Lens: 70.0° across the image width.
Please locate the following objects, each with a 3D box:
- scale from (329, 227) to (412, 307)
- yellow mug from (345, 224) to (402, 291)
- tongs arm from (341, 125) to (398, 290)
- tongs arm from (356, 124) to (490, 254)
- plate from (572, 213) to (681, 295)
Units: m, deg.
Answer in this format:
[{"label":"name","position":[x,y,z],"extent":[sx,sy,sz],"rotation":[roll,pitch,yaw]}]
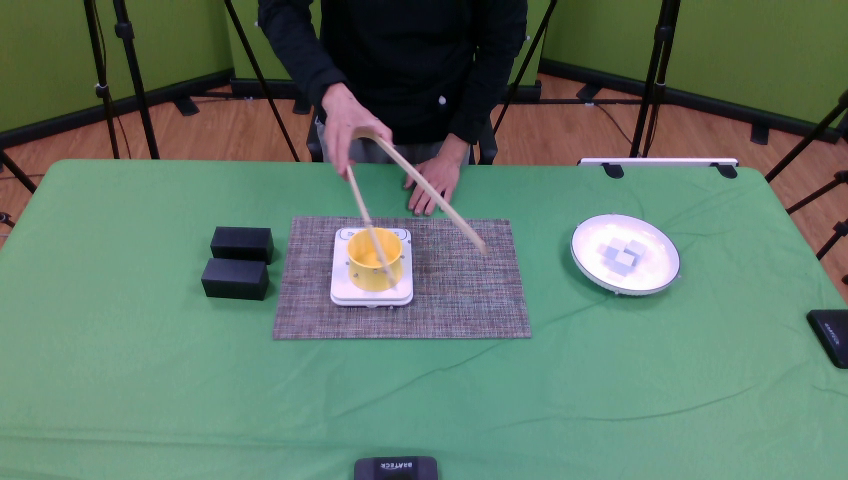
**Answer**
[{"label":"scale","position":[-0.099,0.042,1.139],"extent":[0.149,0.032,0.199],"rotation":[1,46,-4]},{"label":"yellow mug","position":[-0.092,0.022,1.093],"extent":[0.100,0.064,0.130],"rotation":[-8,46,-10]},{"label":"tongs arm","position":[-0.080,-0.067,0.947],"extent":[0.051,0.027,0.382],"rotation":[-20,45,-7]},{"label":"tongs arm","position":[-0.011,-0.094,0.961],"extent":[0.028,0.028,0.385],"rotation":[-31,48,-13]},{"label":"plate","position":[0.392,0.030,1.189],"extent":[0.208,0.039,0.206],"rotation":[2,46,-2]}]
